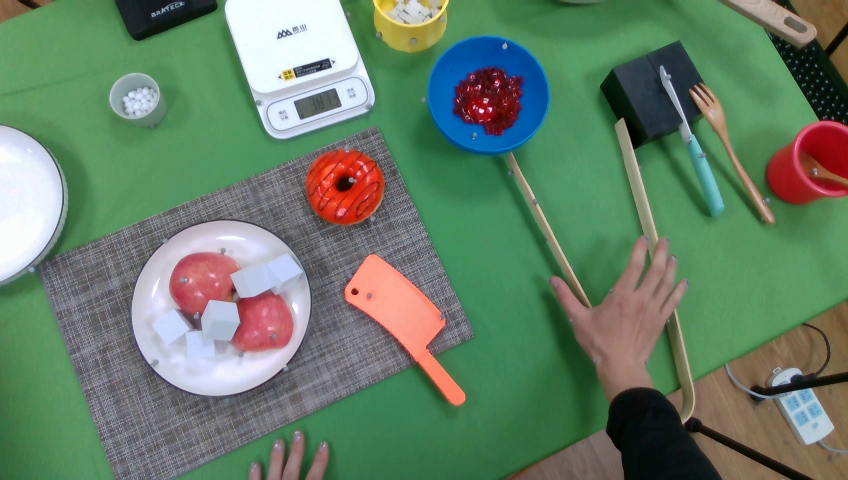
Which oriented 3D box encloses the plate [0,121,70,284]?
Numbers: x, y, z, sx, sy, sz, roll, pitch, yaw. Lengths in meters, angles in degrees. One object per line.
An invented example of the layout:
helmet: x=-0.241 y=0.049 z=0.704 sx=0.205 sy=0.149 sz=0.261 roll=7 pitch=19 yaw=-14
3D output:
plate: x=-0.532 y=-0.042 z=0.733 sx=0.208 sy=0.039 sz=0.206 roll=1 pitch=79 yaw=-3

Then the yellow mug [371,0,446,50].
yellow mug: x=-0.034 y=-0.318 z=0.794 sx=0.130 sy=0.064 sz=0.100 roll=32 pitch=80 yaw=4

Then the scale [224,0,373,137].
scale: x=-0.164 y=-0.245 z=0.792 sx=0.149 sy=0.031 sz=0.200 roll=-20 pitch=82 yaw=-6

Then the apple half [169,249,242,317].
apple half: x=-0.260 y=0.047 z=0.711 sx=0.074 sy=0.053 sz=0.080 roll=20 pitch=78 yaw=4

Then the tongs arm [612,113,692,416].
tongs arm: x=0.286 y=0.024 z=0.768 sx=0.028 sy=0.028 sz=0.386 roll=-9 pitch=82 yaw=-11

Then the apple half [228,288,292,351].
apple half: x=-0.199 y=0.094 z=0.714 sx=0.081 sy=0.033 sz=0.081 roll=0 pitch=82 yaw=1

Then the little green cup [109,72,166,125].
little green cup: x=-0.359 y=-0.176 z=0.766 sx=0.061 sy=0.039 sz=0.061 roll=1 pitch=79 yaw=-2

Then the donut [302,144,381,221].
donut: x=-0.102 y=-0.071 z=0.753 sx=0.099 sy=0.048 sz=0.098 roll=0 pitch=81 yaw=-1

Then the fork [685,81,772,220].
fork: x=0.395 y=-0.113 z=0.780 sx=0.028 sy=0.018 sz=0.208 roll=-34 pitch=98 yaw=-10

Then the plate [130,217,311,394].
plate: x=-0.237 y=0.076 z=0.722 sx=0.209 sy=0.038 sz=0.208 roll=1 pitch=80 yaw=-3

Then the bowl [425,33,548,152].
bowl: x=0.074 y=-0.174 z=0.768 sx=0.151 sy=0.077 sz=0.151 roll=1 pitch=80 yaw=-3

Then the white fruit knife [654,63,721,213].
white fruit knife: x=0.335 y=-0.129 z=0.772 sx=0.016 sy=0.027 sz=0.208 roll=-26 pitch=96 yaw=-7

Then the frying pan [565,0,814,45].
frying pan: x=0.290 y=-0.393 z=0.805 sx=0.485 sy=0.103 sz=0.306 roll=37 pitch=81 yaw=12

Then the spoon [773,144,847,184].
spoon: x=0.512 y=-0.072 z=0.738 sx=0.041 sy=0.022 sz=0.191 roll=-29 pitch=38 yaw=-8

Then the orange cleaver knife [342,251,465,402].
orange cleaver knife: x=-0.014 y=0.103 z=0.738 sx=0.077 sy=0.012 sz=0.210 roll=-42 pitch=83 yaw=-15

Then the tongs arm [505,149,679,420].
tongs arm: x=0.206 y=0.051 z=0.757 sx=0.051 sy=0.026 sz=0.383 roll=-23 pitch=83 yaw=-10
